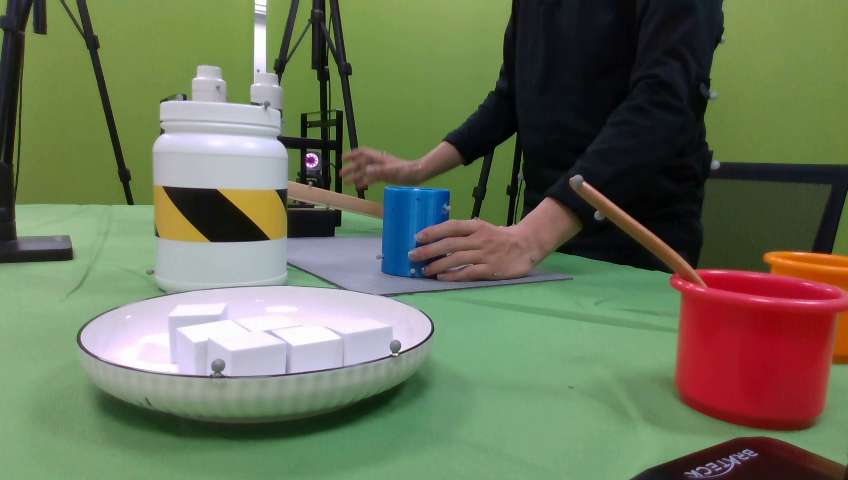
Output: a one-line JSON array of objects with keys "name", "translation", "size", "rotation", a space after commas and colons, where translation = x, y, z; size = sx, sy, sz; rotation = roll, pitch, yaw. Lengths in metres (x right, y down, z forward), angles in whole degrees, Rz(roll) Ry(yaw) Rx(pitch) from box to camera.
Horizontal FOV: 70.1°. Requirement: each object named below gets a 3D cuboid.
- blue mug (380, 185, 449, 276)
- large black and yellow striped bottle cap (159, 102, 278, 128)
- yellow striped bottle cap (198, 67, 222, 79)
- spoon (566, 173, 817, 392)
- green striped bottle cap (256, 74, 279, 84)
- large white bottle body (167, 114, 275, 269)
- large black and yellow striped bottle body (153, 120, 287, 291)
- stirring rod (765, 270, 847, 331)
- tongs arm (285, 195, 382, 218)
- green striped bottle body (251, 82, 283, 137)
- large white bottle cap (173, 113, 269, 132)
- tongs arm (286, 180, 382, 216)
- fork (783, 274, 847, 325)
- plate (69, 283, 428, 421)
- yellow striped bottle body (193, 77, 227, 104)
[{"name": "blue mug", "translation": [-0.018, -0.016, 0.764], "size": [0.083, 0.106, 0.116], "rotation": [-2, 8, -25]}, {"name": "large black and yellow striped bottle cap", "translation": [-0.207, -0.125, 0.615], "size": [0.115, 0.019, 0.115], "rotation": [2, 6, 0]}, {"name": "yellow striped bottle cap", "translation": [-0.412, -0.320, 1.163], "size": [0.044, 0.018, 0.044], "rotation": [2, 5, 0]}, {"name": "spoon", "translation": [0.161, 0.024, 0.370], "size": [0.193, 0.021, 0.042], "rotation": [47, 17, 3]}, {"name": "green striped bottle cap", "translation": [-0.314, -0.321, 1.214], "size": [0.044, 0.020, 0.044], "rotation": [2, 8, 0]}, {"name": "large white bottle body", "translation": [-0.256, -0.063, 0.771], "size": [0.131, 0.184, 0.130], "rotation": [2, 7, 0]}, {"name": "large black and yellow striped bottle body", "translation": [-0.208, -0.042, 0.626], "size": [0.131, 0.184, 0.130], "rotation": [2, 7, 0]}, {"name": "stirring rod", "translation": [0.352, 0.020, 0.484], "size": [0.176, 0.006, 0.014], "rotation": [-40, -7, 13]}, {"name": "tongs arm", "translation": [-0.165, -0.074, 1.215], "size": [0.389, 0.027, 0.028], "rotation": [11, -6, -24]}, {"name": "green striped bottle body", "translation": [-0.317, -0.270, 1.220], "size": [0.063, 0.119, 0.063], "rotation": [2, 7, 0]}, {"name": "large white bottle cap", "translation": [-0.254, -0.146, 0.760], "size": [0.115, 0.018, 0.115], "rotation": [1, 7, 0]}, {"name": "tongs arm", "translation": [-0.123, -0.066, 1.147], "size": [0.387, 0.026, 0.050], "rotation": [11, -2, -37]}, {"name": "fork", "translation": [0.332, 0.018, 0.443], "size": [0.028, 0.018, 0.207], "rotation": [-1, -36, -15]}, {"name": "plate", "translation": [-0.102, 0.066, 0.381], "size": [0.208, 0.039, 0.207], "rotation": [2, 7, 0]}, {"name": "yellow striped bottle body", "translation": [-0.414, -0.268, 1.169], "size": [0.063, 0.120, 0.063], "rotation": [2, 7, 0]}]
